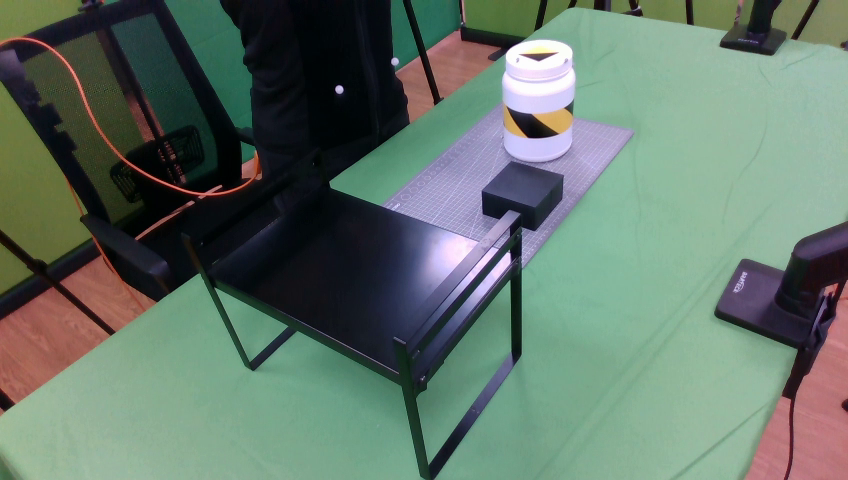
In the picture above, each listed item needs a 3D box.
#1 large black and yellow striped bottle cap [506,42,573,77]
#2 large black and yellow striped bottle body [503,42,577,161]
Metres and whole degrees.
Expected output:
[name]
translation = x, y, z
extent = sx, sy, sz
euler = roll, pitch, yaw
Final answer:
[large black and yellow striped bottle cap]
translation = 0.201, -0.317, 1.056
extent = 0.115, 0.019, 0.114
euler = -3, 39, 3
[large black and yellow striped bottle body]
translation = 0.212, -0.253, 1.110
extent = 0.131, 0.185, 0.130
euler = -5, 41, 5
